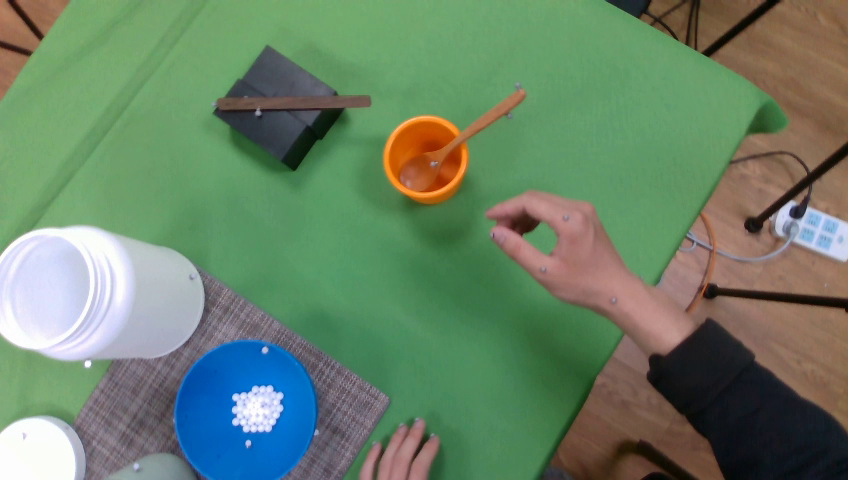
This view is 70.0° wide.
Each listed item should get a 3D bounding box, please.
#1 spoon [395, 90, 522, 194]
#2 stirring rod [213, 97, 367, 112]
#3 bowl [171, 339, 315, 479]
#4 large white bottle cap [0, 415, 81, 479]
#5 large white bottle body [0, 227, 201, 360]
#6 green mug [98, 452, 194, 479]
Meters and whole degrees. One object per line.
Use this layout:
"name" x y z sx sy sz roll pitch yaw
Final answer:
"spoon" 0.031 -0.102 0.643 0.022 0.193 0.041 -10 75 -41
"stirring rod" -0.152 -0.152 0.681 0.176 0.006 0.014 0 117 4
"bowl" -0.184 0.182 0.658 0.151 0.077 0.151 -1 84 5
"large white bottle cap" -0.456 0.262 0.700 0.115 0.018 0.114 -1 82 5
"large white bottle body" -0.335 0.059 0.630 0.130 0.185 0.130 -1 80 8
"green mug" -0.287 0.282 0.641 0.125 0.105 0.092 6 83 5
